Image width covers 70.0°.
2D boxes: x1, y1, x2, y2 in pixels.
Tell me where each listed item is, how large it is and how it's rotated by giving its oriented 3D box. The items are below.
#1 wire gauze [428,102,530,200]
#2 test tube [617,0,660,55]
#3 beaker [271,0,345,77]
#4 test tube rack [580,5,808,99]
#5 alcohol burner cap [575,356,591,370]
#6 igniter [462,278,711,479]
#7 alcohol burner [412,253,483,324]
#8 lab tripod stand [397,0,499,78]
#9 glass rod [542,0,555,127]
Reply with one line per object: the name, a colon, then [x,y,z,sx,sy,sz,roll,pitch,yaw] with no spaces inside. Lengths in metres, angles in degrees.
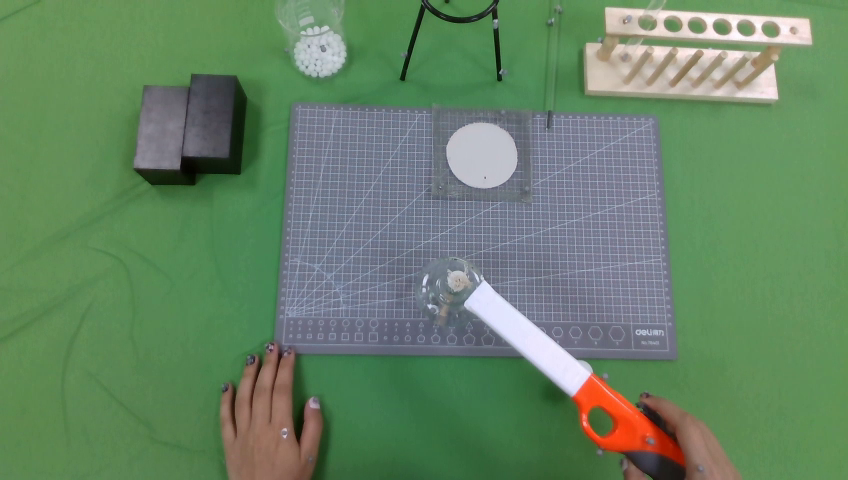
wire gauze: [0.065,-0.110,0.727,0.125,0.011,0.121,3,75,-2]
test tube: [0.250,-0.257,0.685,0.017,0.151,0.017,1,73,-2]
beaker: [-0.128,-0.244,0.703,0.084,0.100,0.073,-37,81,-12]
test tube rack: [0.321,-0.224,0.732,0.242,0.085,0.066,2,76,-3]
alcohol burner cap: [0.164,0.142,0.658,0.034,0.048,0.033,1,75,-2]
igniter: [0.147,0.136,0.547,0.276,0.025,0.057,41,82,7]
alcohol burner: [0.027,0.047,0.633,0.078,0.119,0.077,1,74,-4]
lab tripod stand: [0.029,-0.258,0.698,0.148,0.132,0.147,0,75,-1]
glass rod: [0.158,-0.235,0.763,0.008,0.008,0.199,6,77,-2]
